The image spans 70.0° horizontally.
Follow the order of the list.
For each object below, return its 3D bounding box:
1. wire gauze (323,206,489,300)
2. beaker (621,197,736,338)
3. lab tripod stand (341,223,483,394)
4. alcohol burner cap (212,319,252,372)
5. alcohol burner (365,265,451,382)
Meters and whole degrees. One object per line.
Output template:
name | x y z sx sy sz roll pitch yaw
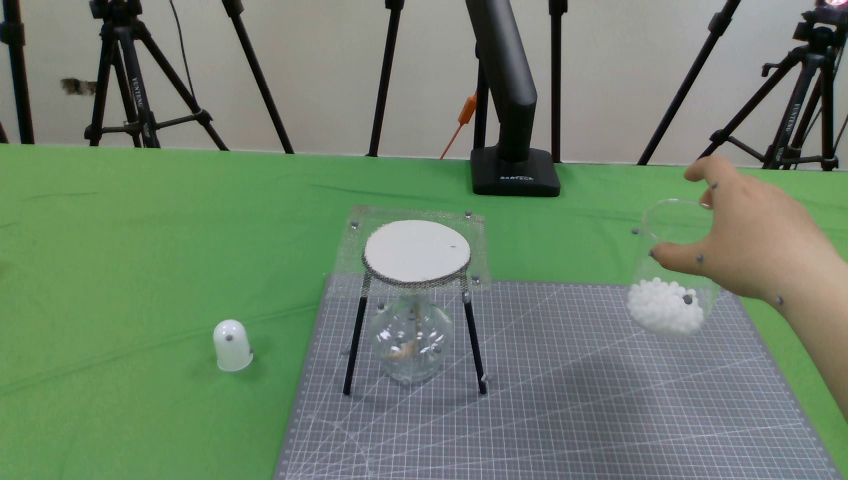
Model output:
wire gauze | -0.011 0.008 0.487 0.121 0.011 0.124 2 34 1
beaker | 0.208 0.027 0.507 0.074 0.101 0.083 10 39 14
lab tripod stand | -0.012 0.060 0.530 0.148 0.132 0.147 0 35 0
alcohol burner cap | -0.178 0.094 0.557 0.034 0.048 0.033 2 37 -1
alcohol burner | -0.013 0.069 0.535 0.078 0.120 0.077 3 37 -2
